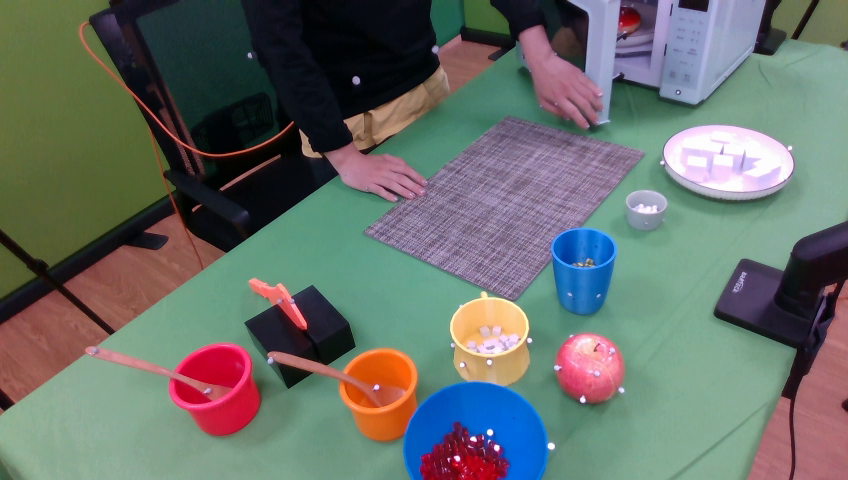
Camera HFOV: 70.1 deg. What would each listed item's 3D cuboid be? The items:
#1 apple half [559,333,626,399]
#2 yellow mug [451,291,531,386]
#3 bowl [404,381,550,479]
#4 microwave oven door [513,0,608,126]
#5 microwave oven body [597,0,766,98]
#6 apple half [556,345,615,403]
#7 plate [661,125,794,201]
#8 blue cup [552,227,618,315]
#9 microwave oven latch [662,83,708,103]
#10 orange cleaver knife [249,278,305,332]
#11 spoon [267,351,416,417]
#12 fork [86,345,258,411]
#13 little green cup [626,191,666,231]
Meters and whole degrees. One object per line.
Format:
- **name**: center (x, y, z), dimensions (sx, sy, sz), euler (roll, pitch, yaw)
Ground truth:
- **apple half**: center (0.209, 0.147, 0.730), dimensions (0.080, 0.075, 0.053), euler (26, 48, 38)
- **yellow mug**: center (0.085, 0.120, 0.786), dimensions (0.100, 0.064, 0.130), euler (-7, 39, 1)
- **bowl**: center (0.058, 0.235, 0.645), dimensions (0.151, 0.077, 0.150), euler (-4, 39, 4)
- **microwave oven door**: center (0.272, -0.418, 1.227), dimensions (0.039, 0.245, 0.353), euler (-17, 41, -11)
- **microwave oven body**: center (0.472, -0.513, 1.317), dimensions (0.438, 0.261, 0.327), euler (26, 51, 34)
- **apple half**: center (0.181, 0.167, 0.709), dimensions (0.080, 0.081, 0.033), euler (29, 50, 35)
- **plate**: center (0.513, -0.128, 1.035), dimensions (0.207, 0.039, 0.206), euler (-4, 40, 4)
- **blue cup**: center (0.218, 0.047, 0.825), dimensions (0.092, 0.100, 0.092), euler (-6, 39, 5)
- **microwave oven latch**: center (0.518, -0.297, 1.204), dimensions (0.030, 0.029, 0.078), euler (-37, 47, -29)
- **orange cleaver knife**: center (-0.210, 0.089, 0.855), dimensions (0.012, 0.077, 0.210), euler (-28, 15, -25)
- **spoon**: center (-0.091, 0.163, 0.699), dimensions (0.021, 0.195, 0.041), euler (-44, 30, 27)
- **fork**: center (-0.298, 0.167, 0.728), dimensions (0.209, 0.018, 0.028), euler (28, 46, -23)
- **little green cup**: center (0.352, -0.046, 0.963), dimensions (0.061, 0.039, 0.061), euler (-4, 40, 4)
